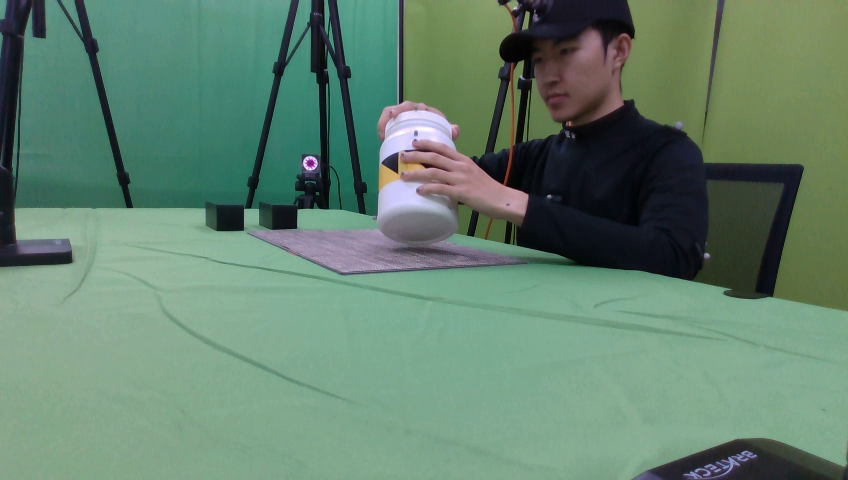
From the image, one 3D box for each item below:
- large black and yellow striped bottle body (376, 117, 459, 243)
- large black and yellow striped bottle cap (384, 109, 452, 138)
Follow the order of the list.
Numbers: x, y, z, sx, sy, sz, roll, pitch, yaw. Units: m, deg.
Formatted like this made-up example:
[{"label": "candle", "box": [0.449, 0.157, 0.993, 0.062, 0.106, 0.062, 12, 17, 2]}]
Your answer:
[{"label": "large black and yellow striped bottle body", "box": [-0.010, -0.102, 0.984, 0.131, 0.183, 0.131, -1, -25, 0]}, {"label": "large black and yellow striped bottle cap", "box": [-0.010, -0.179, 1.020, 0.115, 0.019, 0.115, 1, -25, 1]}]
